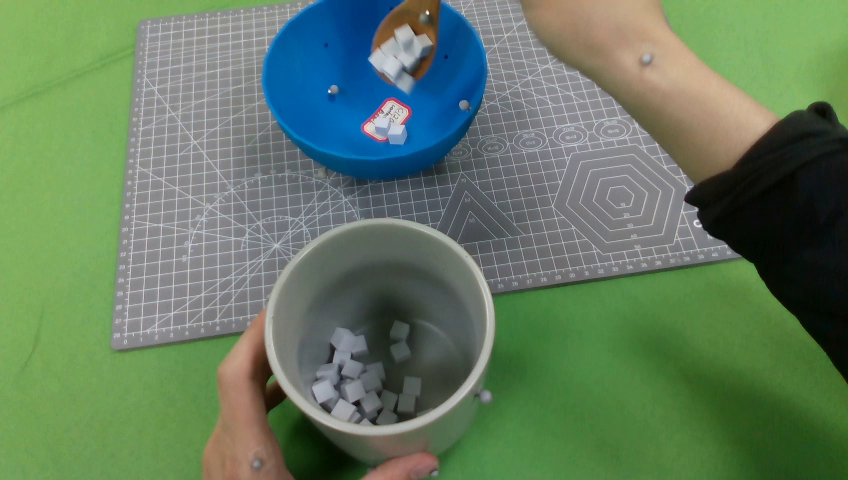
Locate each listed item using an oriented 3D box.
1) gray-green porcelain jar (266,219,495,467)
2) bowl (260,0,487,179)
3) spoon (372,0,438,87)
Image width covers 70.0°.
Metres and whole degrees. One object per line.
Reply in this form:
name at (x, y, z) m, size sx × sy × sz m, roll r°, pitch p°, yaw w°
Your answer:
gray-green porcelain jar at (-0.018, 0.064, 0.330) m, size 0.106 × 0.127 × 0.105 m, roll -1°, pitch 63°, yaw 1°
bowl at (-0.032, -0.097, 0.434) m, size 0.151 × 0.077 × 0.150 m, roll 0°, pitch 63°, yaw 1°
spoon at (0.013, -0.156, 0.341) m, size 0.042 × 0.194 × 0.021 m, roll 35°, pitch 57°, yaw -4°
